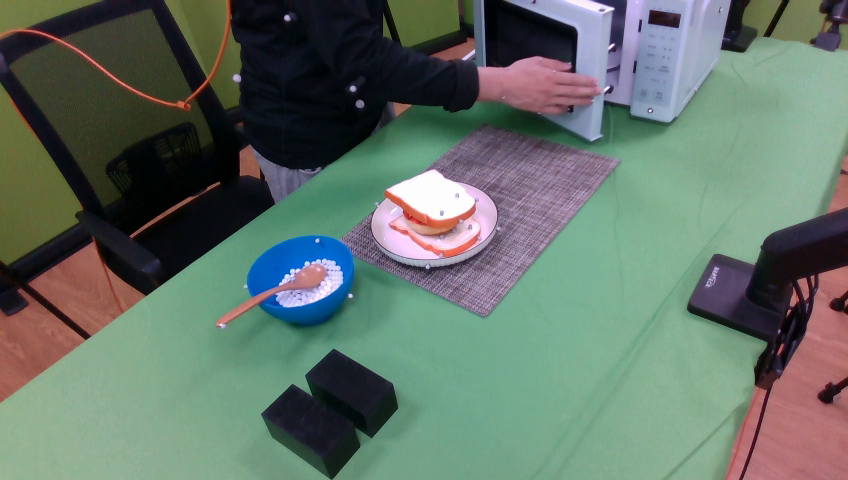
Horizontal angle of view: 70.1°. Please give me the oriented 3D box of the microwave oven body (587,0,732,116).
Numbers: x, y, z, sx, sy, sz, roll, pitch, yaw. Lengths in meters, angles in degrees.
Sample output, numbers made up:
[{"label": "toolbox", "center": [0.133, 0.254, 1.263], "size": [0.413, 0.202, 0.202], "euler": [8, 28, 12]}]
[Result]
[{"label": "microwave oven body", "center": [0.377, -0.463, 1.267], "size": [0.438, 0.261, 0.327], "euler": [21, 49, 30]}]

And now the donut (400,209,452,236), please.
[{"label": "donut", "center": [0.011, -0.047, 0.956], "size": [0.099, 0.048, 0.098], "euler": [-6, 42, 6]}]

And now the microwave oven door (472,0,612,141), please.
[{"label": "microwave oven door", "center": [0.216, -0.366, 1.171], "size": [0.039, 0.245, 0.352], "euler": [-28, 45, -22]}]

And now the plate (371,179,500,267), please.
[{"label": "plate", "center": [0.020, -0.025, 0.977], "size": [0.207, 0.039, 0.206], "euler": [-4, 40, 4]}]

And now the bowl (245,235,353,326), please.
[{"label": "bowl", "center": [-0.171, 0.069, 0.868], "size": [0.151, 0.077, 0.150], "euler": [-4, 41, 4]}]

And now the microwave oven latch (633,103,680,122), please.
[{"label": "microwave oven latch", "center": [0.444, -0.249, 1.158], "size": [0.078, 0.029, 0.030], "euler": [21, 49, 30]}]

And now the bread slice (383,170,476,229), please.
[{"label": "bread slice", "center": [0.017, -0.064, 0.935], "size": [0.105, 0.019, 0.130], "euler": [-27, 46, -31]}]

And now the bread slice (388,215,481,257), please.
[{"label": "bread slice", "center": [0.026, -0.023, 0.973], "size": [0.107, 0.018, 0.133], "euler": [-36, 48, -28]}]

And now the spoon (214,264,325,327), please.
[{"label": "spoon", "center": [-0.206, 0.073, 0.821], "size": [0.041, 0.021, 0.195], "euler": [22, 27, 27]}]
